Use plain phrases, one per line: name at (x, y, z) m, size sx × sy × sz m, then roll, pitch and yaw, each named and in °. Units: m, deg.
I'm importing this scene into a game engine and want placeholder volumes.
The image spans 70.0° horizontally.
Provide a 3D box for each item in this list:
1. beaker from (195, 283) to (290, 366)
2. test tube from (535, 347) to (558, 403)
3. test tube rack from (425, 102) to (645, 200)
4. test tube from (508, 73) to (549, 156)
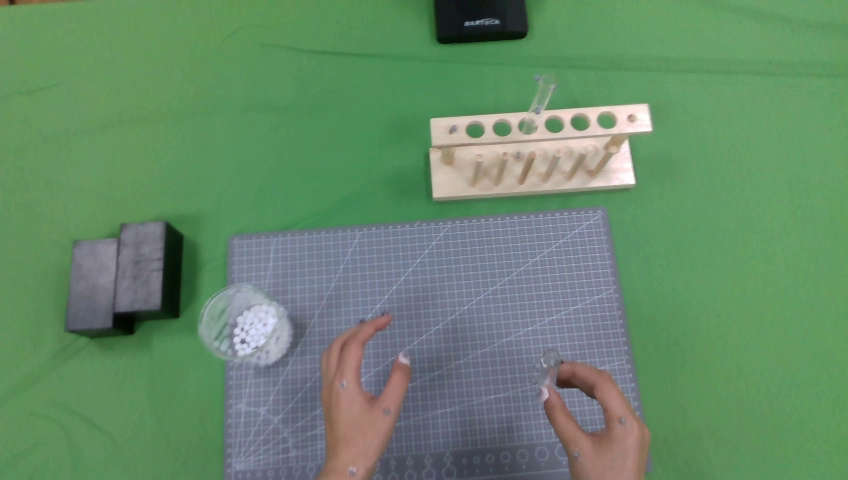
beaker at (-0.181, 0.091, 0.632) m, size 0.084 × 0.101 × 0.073 m, roll -12°, pitch 74°, yaw -5°
test tube at (0.110, 0.126, 0.550) m, size 0.017 × 0.152 × 0.017 m, roll -3°, pitch 63°, yaw 7°
test tube rack at (0.123, -0.101, 0.702) m, size 0.242 × 0.085 × 0.066 m, roll -4°, pitch 73°, yaw -1°
test tube at (0.111, -0.132, 0.660) m, size 0.017 × 0.151 × 0.017 m, roll 1°, pitch 70°, yaw -3°
